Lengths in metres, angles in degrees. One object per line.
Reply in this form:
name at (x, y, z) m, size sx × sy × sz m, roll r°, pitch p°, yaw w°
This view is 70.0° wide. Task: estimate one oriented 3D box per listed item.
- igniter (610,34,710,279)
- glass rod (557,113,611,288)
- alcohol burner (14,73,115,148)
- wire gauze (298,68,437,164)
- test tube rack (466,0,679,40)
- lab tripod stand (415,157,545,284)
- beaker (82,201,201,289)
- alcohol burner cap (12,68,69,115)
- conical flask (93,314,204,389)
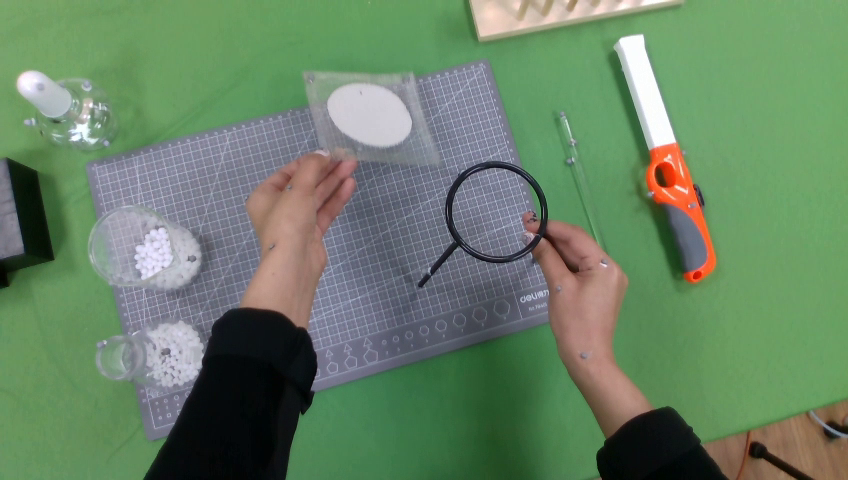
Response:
igniter at (0.258, -0.094, 0.663) m, size 0.057 × 0.025 × 0.275 m, roll -13°, pitch 83°, yaw -14°
glass rod at (0.175, -0.044, 0.662) m, size 0.008 × 0.008 × 0.199 m, roll -14°, pitch 85°, yaw -5°
alcohol burner at (-0.360, -0.134, 0.599) m, size 0.078 × 0.119 × 0.077 m, roll 0°, pitch 83°, yaw -1°
wire gauze at (-0.057, -0.128, 0.609) m, size 0.125 × 0.011 × 0.120 m, roll -2°, pitch 61°, yaw -23°
test tube rack at (0.170, -0.288, 0.656) m, size 0.242 × 0.085 × 0.066 m, roll -12°, pitch 82°, yaw -4°
lab tripod stand at (0.052, -0.013, 0.579) m, size 0.148 × 0.131 × 0.148 m, roll 1°, pitch 82°, yaw -6°
beaker at (-0.263, 0.011, 0.587) m, size 0.084 × 0.100 × 0.074 m, roll 21°, pitch 81°, yaw 0°
alcohol burner cap at (-0.359, -0.141, 0.564) m, size 0.034 × 0.048 × 0.033 m, roll 0°, pitch 75°, yaw -1°
conical flask at (-0.258, 0.104, 0.562) m, size 0.075 × 0.122 × 0.075 m, roll 0°, pitch 81°, yaw -2°
